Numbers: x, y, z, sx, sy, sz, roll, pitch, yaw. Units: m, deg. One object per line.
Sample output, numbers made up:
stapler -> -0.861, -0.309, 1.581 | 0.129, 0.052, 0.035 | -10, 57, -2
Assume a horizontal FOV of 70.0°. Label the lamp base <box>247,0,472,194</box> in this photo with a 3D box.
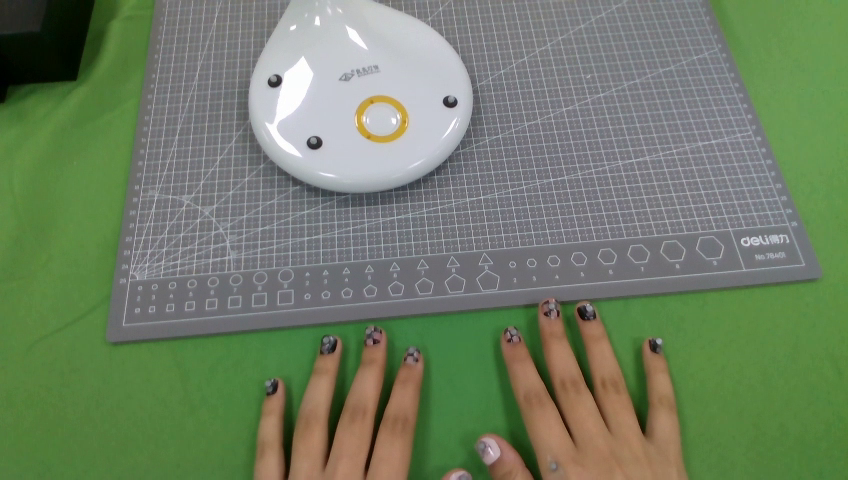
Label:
lamp base -> -0.054, -0.146, 0.373 | 0.160, 0.182, 0.177 | -31, 64, -15
